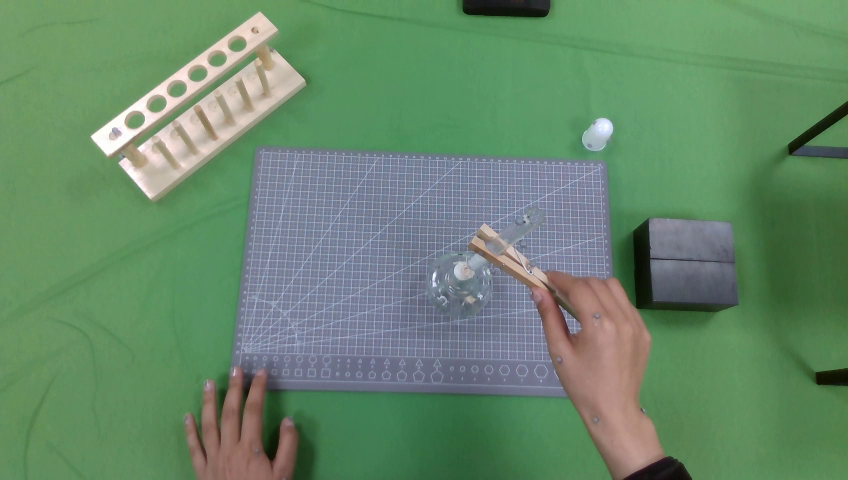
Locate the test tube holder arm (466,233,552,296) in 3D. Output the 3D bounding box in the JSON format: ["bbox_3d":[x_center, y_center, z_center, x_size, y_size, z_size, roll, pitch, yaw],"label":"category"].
[{"bbox_3d":[0.077,0.022,0.540,0.088,0.015,0.010,33,70,-3],"label":"test tube holder arm"}]

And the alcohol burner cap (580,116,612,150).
[{"bbox_3d":[0.222,-0.139,0.776,0.034,0.048,0.033,1,73,-3],"label":"alcohol burner cap"}]

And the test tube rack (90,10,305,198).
[{"bbox_3d":[-0.264,-0.163,0.733,0.242,0.085,0.066,-42,80,-13],"label":"test tube rack"}]

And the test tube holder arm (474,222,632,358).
[{"bbox_3d":[0.116,0.045,0.543,0.178,0.015,0.013,39,71,-1],"label":"test tube holder arm"}]

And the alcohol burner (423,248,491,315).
[{"bbox_3d":[0.039,0.042,0.676,0.078,0.119,0.077,1,73,-4],"label":"alcohol burner"}]

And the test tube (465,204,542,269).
[{"bbox_3d":[0.065,0.001,0.526,0.017,0.150,0.017,4,72,-14],"label":"test tube"}]
